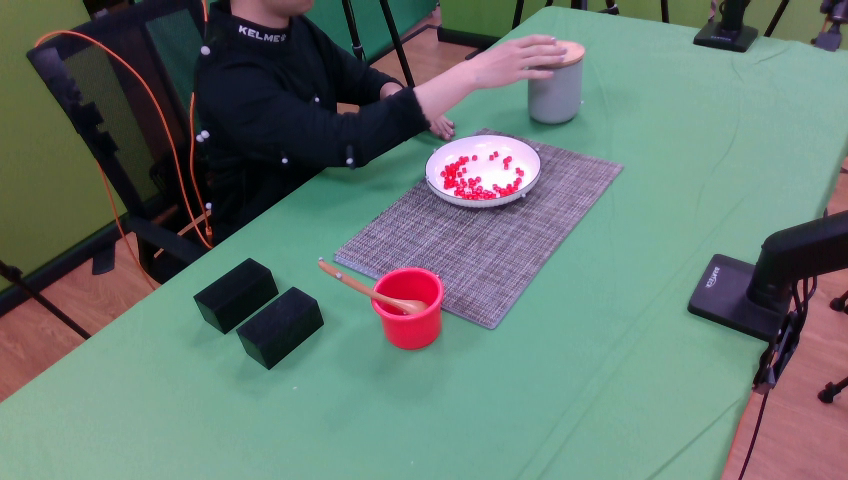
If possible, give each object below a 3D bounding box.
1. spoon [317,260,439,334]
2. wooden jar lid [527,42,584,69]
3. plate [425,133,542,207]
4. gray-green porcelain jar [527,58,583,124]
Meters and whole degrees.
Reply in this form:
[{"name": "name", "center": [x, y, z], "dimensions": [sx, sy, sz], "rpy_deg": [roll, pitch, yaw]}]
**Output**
[{"name": "spoon", "center": [-0.056, 0.074, 0.788], "dimensions": [0.195, 0.021, 0.041], "rpy_deg": [27, 42, -21]}, {"name": "wooden jar lid", "center": [0.253, -0.352, 1.164], "dimensions": [0.108, 0.021, 0.108], "rpy_deg": [-5, 39, 5]}, {"name": "plate", "center": [0.106, -0.121, 1.079], "dimensions": [0.207, 0.039, 0.206], "rpy_deg": [-4, 41, 4]}, {"name": "gray-green porcelain jar", "center": [0.260, -0.304, 1.207], "dimensions": [0.106, 0.127, 0.105], "rpy_deg": [-4, 41, 4]}]
